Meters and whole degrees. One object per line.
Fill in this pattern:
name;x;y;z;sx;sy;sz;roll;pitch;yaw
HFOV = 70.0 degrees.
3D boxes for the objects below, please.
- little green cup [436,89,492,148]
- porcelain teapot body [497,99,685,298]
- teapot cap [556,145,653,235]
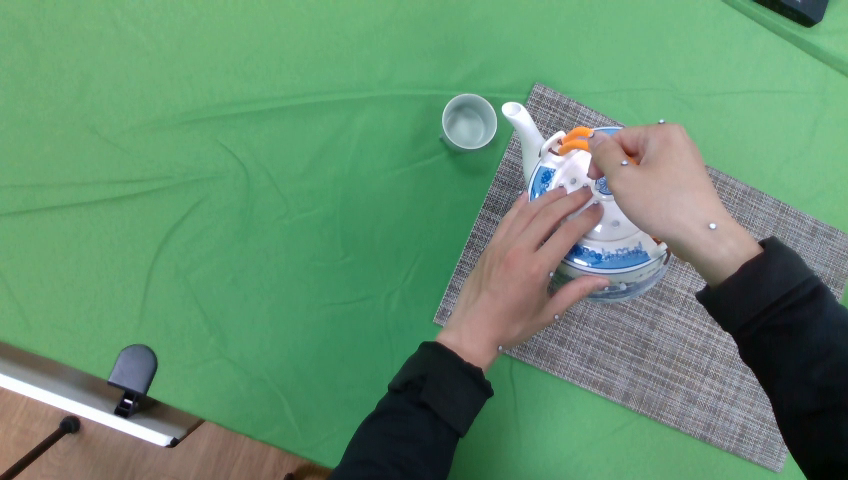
little green cup;0.042;-0.131;0.672;0.062;0.038;0.061;1;85;-8
porcelain teapot body;0.146;-0.053;0.581;0.145;0.227;0.204;-45;68;-2
teapot cap;0.158;-0.047;0.533;0.085;0.044;0.084;-4;71;13
